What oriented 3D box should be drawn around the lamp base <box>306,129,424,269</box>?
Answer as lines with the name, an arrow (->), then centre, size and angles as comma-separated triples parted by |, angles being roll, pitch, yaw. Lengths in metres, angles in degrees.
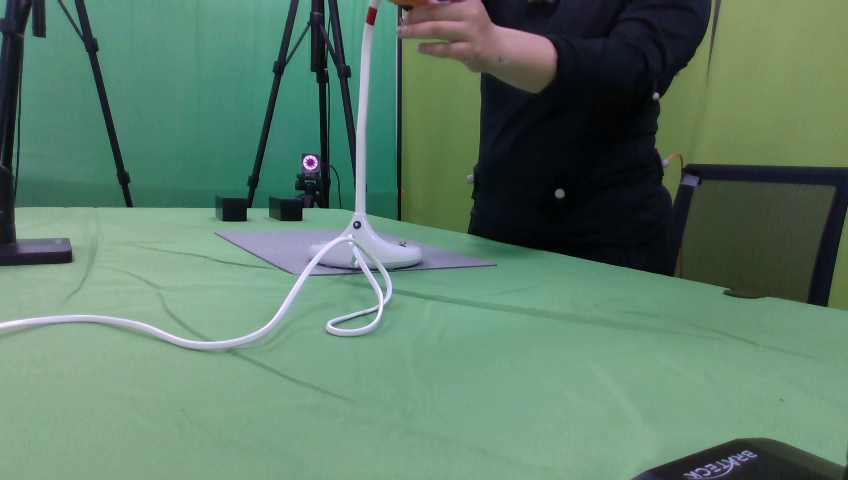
lamp base -> -0.077, -0.057, 0.810 | 0.161, 0.180, 0.179 | 2, 10, -4

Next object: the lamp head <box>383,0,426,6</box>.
lamp head -> -0.024, -0.326, 0.672 | 0.112, 0.123, 0.112 | 4, 3, 0
